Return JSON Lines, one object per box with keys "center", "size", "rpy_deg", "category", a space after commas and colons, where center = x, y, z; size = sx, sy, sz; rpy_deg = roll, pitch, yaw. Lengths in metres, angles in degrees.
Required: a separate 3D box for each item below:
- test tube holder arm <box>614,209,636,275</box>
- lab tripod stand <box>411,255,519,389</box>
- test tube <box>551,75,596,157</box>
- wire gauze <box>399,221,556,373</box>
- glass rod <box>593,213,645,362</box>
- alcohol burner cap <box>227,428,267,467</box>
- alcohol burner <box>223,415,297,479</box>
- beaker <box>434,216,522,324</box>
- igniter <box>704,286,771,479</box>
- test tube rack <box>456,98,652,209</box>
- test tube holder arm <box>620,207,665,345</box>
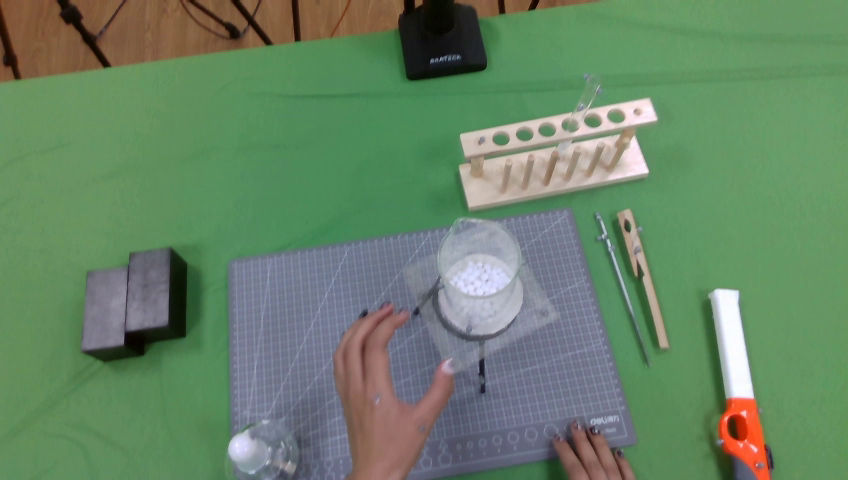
{"center": [0.257, 0.002, 0.766], "size": [0.010, 0.015, 0.087], "rpy_deg": [-22, 64, 28], "category": "test tube holder arm"}
{"center": [0.049, 0.082, 0.671], "size": [0.148, 0.132, 0.147], "rpy_deg": [-1, 67, 3], "category": "lab tripod stand"}
{"center": [0.180, -0.147, 0.742], "size": [0.017, 0.151, 0.017], "rpy_deg": [2, 65, -3], "category": "test tube"}
{"center": [0.052, 0.053, 0.612], "size": [0.121, 0.011, 0.124], "rpy_deg": [-25, 69, -5], "category": "wire gauze"}
{"center": [0.239, 0.054, 0.748], "size": [0.008, 0.008, 0.198], "rpy_deg": [-10, 66, -3], "category": "glass rod"}
{"center": [-0.177, 0.202, 0.597], "size": [0.034, 0.048, 0.033], "rpy_deg": [-1, 56, 1], "category": "alcohol burner cap"}
{"center": [-0.175, 0.218, 0.629], "size": [0.078, 0.120, 0.077], "rpy_deg": [-1, 64, 2], "category": "alcohol burner"}
{"center": [0.048, 0.031, 0.569], "size": [0.074, 0.101, 0.083], "rpy_deg": [-23, 67, -6], "category": "beaker"}
{"center": [0.350, 0.184, 0.678], "size": [0.057, 0.025, 0.274], "rpy_deg": [6, 66, -6], "category": "igniter"}
{"center": [0.166, -0.109, 0.780], "size": [0.242, 0.086, 0.066], "rpy_deg": [-11, 66, -3], "category": "test tube rack"}
{"center": [0.268, 0.041, 0.746], "size": [0.013, 0.015, 0.177], "rpy_deg": [-22, 64, 28], "category": "test tube holder arm"}
